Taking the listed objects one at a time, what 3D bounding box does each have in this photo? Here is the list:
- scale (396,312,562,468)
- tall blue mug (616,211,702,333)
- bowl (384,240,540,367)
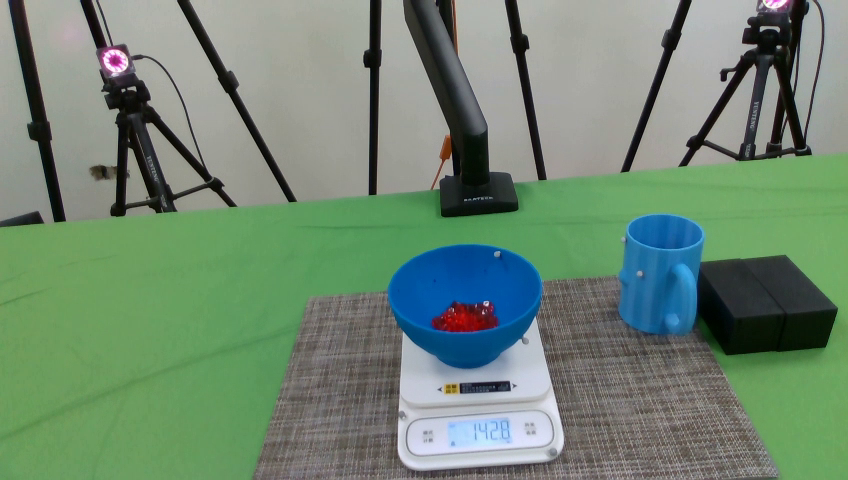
[{"bbox_3d":[0.048,0.133,0.605,0.148,0.032,0.199,-5,32,3],"label":"scale"},{"bbox_3d":[0.259,0.040,0.644,0.078,0.109,0.106,-22,35,-24],"label":"tall blue mug"},{"bbox_3d":[0.039,0.072,0.603,0.151,0.077,0.150,-4,32,3],"label":"bowl"}]
